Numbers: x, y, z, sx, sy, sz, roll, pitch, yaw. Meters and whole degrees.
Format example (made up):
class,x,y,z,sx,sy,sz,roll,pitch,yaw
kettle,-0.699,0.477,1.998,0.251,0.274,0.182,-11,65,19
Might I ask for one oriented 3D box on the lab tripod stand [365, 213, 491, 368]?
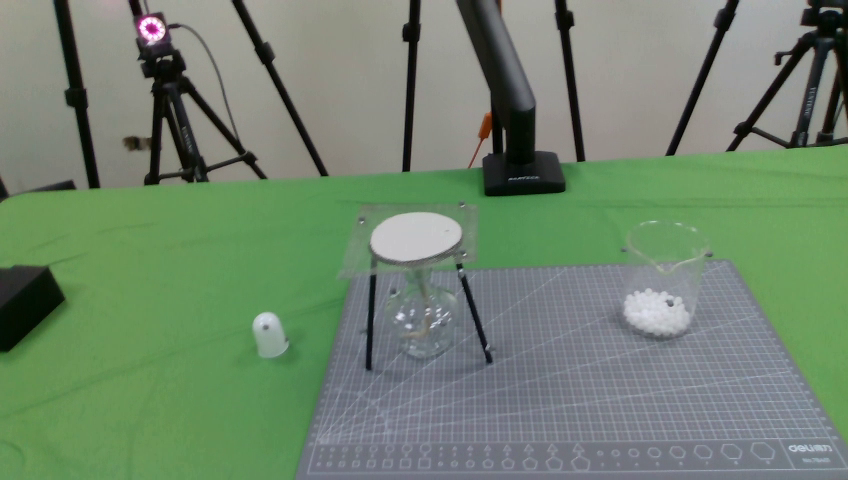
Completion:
class,x,y,z,sx,sy,sz,roll,pitch,yaw
lab tripod stand,-0.003,0.048,0.600,0.148,0.132,0.147,-5,32,4

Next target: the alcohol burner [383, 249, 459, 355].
class,x,y,z,sx,sy,sz,roll,pitch,yaw
alcohol burner,-0.004,0.057,0.604,0.078,0.120,0.077,-3,34,2

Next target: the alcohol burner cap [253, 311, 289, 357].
class,x,y,z,sx,sy,sz,roll,pitch,yaw
alcohol burner cap,-0.164,0.096,0.640,0.034,0.048,0.033,-3,34,2

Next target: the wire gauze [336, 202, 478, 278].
class,x,y,z,sx,sy,sz,roll,pitch,yaw
wire gauze,-0.011,-0.006,0.559,0.121,0.011,0.124,-3,31,7

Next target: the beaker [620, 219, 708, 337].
class,x,y,z,sx,sy,sz,roll,pitch,yaw
beaker,0.236,0.042,0.605,0.073,0.101,0.083,6,35,18
